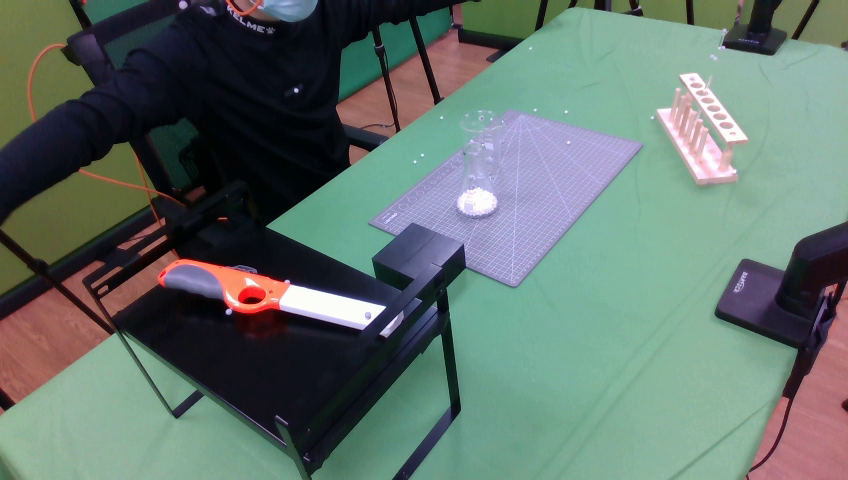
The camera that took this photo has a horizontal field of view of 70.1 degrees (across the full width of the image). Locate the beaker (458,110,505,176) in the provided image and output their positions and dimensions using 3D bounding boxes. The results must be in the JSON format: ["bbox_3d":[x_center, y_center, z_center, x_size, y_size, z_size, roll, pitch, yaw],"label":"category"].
[{"bbox_3d":[0.106,-0.174,1.097,0.084,0.101,0.074,5,42,13],"label":"beaker"}]

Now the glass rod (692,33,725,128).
[{"bbox_3d":[0.501,-0.277,1.073,0.008,0.200,0.008,-3,50,4],"label":"glass rod"}]

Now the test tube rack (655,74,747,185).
[{"bbox_3d":[0.491,-0.205,1.092,0.067,0.085,0.241,-5,40,3],"label":"test tube rack"}]

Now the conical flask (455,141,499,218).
[{"bbox_3d":[0.085,-0.103,0.999,0.075,0.122,0.075,-4,40,4],"label":"conical flask"}]

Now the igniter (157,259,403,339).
[{"bbox_3d":[-0.157,0.059,0.638,0.275,0.025,0.057,11,43,14],"label":"igniter"}]
